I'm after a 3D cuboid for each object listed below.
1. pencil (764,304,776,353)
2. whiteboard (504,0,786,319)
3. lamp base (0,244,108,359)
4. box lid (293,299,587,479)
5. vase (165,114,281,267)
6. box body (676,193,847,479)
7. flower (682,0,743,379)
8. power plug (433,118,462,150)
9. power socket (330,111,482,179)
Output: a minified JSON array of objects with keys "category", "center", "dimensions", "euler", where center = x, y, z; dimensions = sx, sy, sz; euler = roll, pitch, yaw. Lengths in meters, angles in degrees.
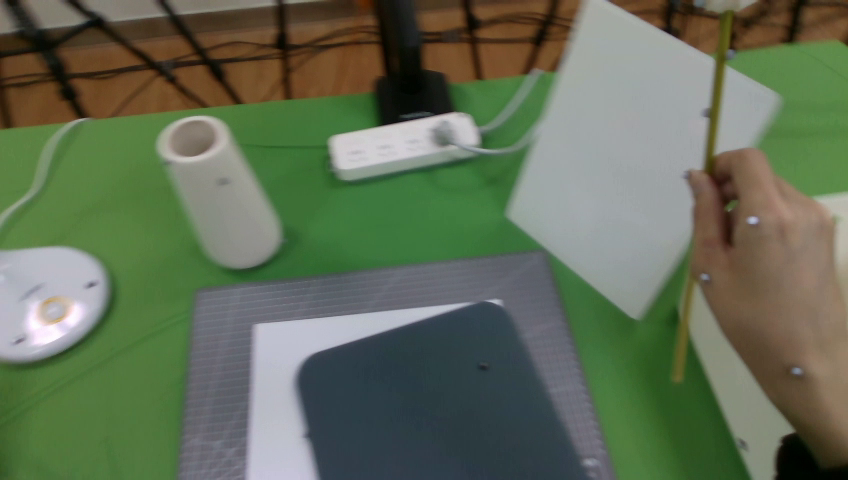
[{"category":"pencil","center":[0.387,0.158,0.668],"dimensions":[0.012,0.012,0.192],"euler":[10,59,9]},{"category":"whiteboard","center":[0.262,-0.100,0.715],"dimensions":[0.144,0.307,0.215],"euler":[-24,55,-37]},{"category":"lamp base","center":[-0.484,0.023,0.683],"dimensions":[0.178,0.182,0.160],"euler":[20,57,18]},{"category":"box lid","center":[0.025,0.241,0.622],"dimensions":[0.264,0.015,0.367],"euler":[-16,57,-10]},{"category":"vase","center":[-0.238,-0.053,0.720],"dimensions":[0.098,0.202,0.097],"euler":[-1,55,2]},{"category":"box body","center":[0.436,0.145,0.589],"dimensions":[0.254,0.162,0.360],"euler":[-7,55,-4]},{"category":"flower","center":[0.165,-0.023,0.363],"dimensions":[0.044,0.365,0.038],"euler":[2,44,22]},{"category":"power plug","center":[0.032,-0.139,0.847],"dimensions":[0.035,0.053,0.072],"euler":[-3,56,-1]},{"category":"power socket","center":[-0.024,-0.138,0.877],"dimensions":[0.227,0.033,0.071],"euler":[-11,56,-7]}]
